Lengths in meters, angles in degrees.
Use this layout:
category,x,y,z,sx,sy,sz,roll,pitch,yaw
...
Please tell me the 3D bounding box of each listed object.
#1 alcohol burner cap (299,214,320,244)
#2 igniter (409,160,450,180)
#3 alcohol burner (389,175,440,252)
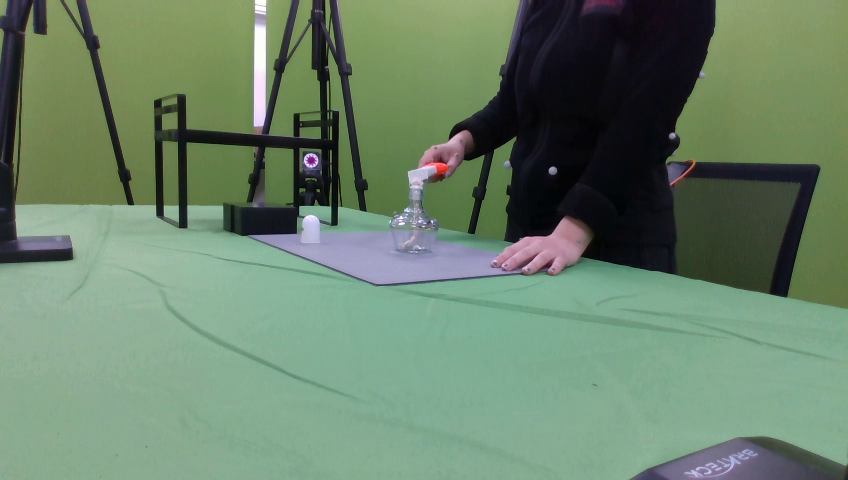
category,x,y,z,sx,sy,sz,roll,pitch,yaw
alcohol burner cap,-0.185,-0.018,0.979,0.034,0.048,0.034,4,8,0
igniter,0.013,-0.126,1.071,0.057,0.025,0.277,-9,8,10
alcohol burner,-0.013,-0.041,0.929,0.078,0.119,0.078,4,8,0
